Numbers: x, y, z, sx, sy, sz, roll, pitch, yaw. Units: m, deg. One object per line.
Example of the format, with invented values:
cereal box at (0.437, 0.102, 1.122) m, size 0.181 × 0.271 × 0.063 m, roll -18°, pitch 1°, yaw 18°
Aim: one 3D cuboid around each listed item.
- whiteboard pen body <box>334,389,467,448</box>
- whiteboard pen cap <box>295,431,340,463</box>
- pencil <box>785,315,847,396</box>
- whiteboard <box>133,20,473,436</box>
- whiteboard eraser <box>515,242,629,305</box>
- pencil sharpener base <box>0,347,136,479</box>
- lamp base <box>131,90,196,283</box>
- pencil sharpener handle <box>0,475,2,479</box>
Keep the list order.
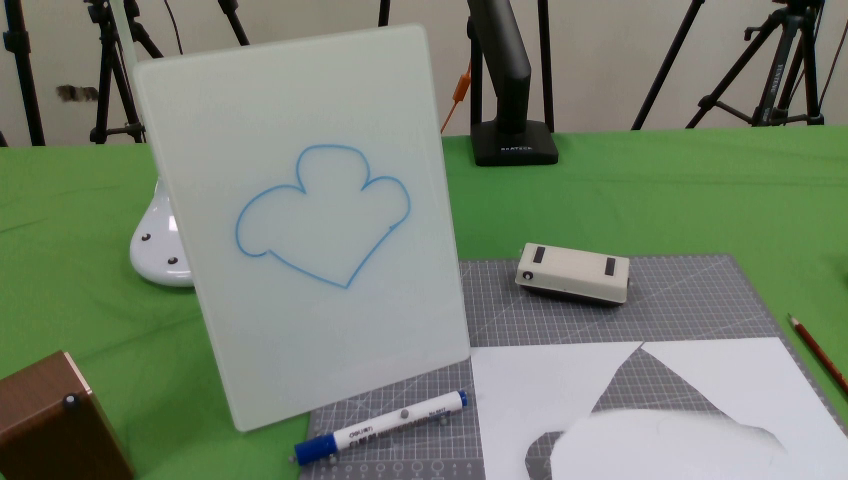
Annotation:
whiteboard pen body at (-0.030, 0.150, 0.501) m, size 0.141 × 0.017 × 0.017 m, roll -15°, pitch 39°, yaw -15°
whiteboard pen cap at (-0.085, 0.165, 0.484) m, size 0.033 × 0.018 × 0.018 m, roll -15°, pitch 39°, yaw -16°
pencil at (0.374, 0.131, 0.535) m, size 0.012 × 0.012 × 0.192 m, roll -3°, pitch 35°, yaw -2°
whiteboard at (-0.098, -0.021, 0.552) m, size 0.218 × 0.307 × 0.142 m, roll -14°, pitch 19°, yaw -16°
whiteboard eraser at (0.156, 0.036, 0.636) m, size 0.112 × 0.042 × 0.055 m, roll 10°, pitch 39°, yaw 15°
pencil sharpener base at (-0.274, 0.147, 0.447) m, size 0.077 × 0.108 × 0.061 m, roll -30°, pitch 46°, yaw -32°
lamp base at (-0.271, -0.069, 0.676) m, size 0.177 × 0.182 × 0.160 m, roll 25°, pitch 44°, yaw 34°
pencil sharpener handle at (-0.309, 0.159, 0.410) m, size 0.030 × 0.068 × 0.035 m, roll -30°, pitch 33°, yaw -32°
